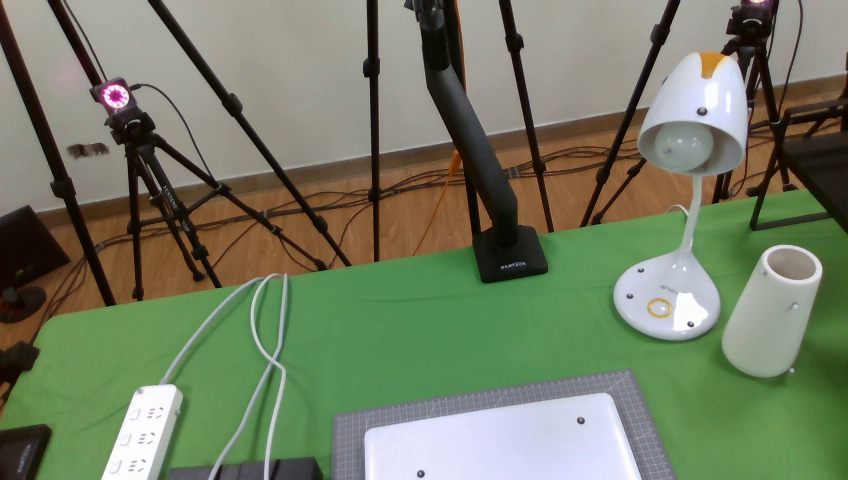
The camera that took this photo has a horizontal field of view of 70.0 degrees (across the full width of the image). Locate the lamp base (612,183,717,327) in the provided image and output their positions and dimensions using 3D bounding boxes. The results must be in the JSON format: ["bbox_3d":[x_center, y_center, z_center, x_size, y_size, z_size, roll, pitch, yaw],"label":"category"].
[{"bbox_3d":[0.381,0.012,0.926,0.159,0.182,0.178,16,48,24],"label":"lamp base"}]

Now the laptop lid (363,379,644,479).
[{"bbox_3d":[0.098,0.306,0.779,0.357,0.013,0.239,-8,47,2],"label":"laptop lid"}]

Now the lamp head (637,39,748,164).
[{"bbox_3d":[0.309,-0.160,0.682,0.112,0.113,0.122,13,67,22],"label":"lamp head"}]

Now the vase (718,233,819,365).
[{"bbox_3d":[0.469,0.083,0.826,0.098,0.202,0.097,-6,44,6],"label":"vase"}]

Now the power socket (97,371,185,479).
[{"bbox_3d":[-0.415,0.290,0.889,0.072,0.033,0.224,-4,44,5],"label":"power socket"}]

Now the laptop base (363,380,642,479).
[{"bbox_3d":[0.099,0.312,0.789,0.354,0.023,0.233,-9,48,1],"label":"laptop base"}]

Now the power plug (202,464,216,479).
[{"bbox_3d":[-0.275,0.337,0.783,0.035,0.053,0.072,10,52,45],"label":"power plug"}]
